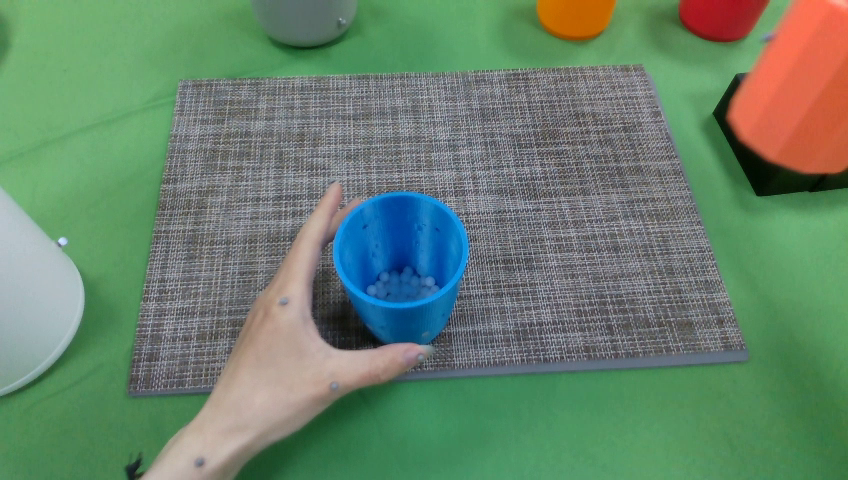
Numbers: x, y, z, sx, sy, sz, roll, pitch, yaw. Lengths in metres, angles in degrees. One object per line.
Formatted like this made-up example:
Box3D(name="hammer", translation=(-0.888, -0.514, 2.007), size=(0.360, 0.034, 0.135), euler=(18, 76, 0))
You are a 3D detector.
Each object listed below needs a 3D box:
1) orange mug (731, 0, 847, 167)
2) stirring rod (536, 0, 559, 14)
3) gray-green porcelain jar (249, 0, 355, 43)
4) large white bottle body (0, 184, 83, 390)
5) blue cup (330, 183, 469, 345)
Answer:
Box3D(name="orange mug", translation=(0.266, -0.102, 0.359), size=(0.125, 0.102, 0.083), euler=(20, 52, 16))
Box3D(name="stirring rod", translation=(0.182, -0.283, 0.586), size=(0.176, 0.006, 0.014), euler=(-36, 63, 26))
Box3D(name="gray-green porcelain jar", translation=(-0.119, -0.262, 0.569), size=(0.106, 0.127, 0.105), euler=(1, 60, -1))
Box3D(name="large white bottle body", translation=(-0.314, 0.009, 0.369), size=(0.131, 0.186, 0.129), euler=(1, 60, -2))
Box3D(name="blue cup", translation=(-0.015, 0.026, 0.415), size=(0.092, 0.101, 0.092), euler=(0, 59, 0))
